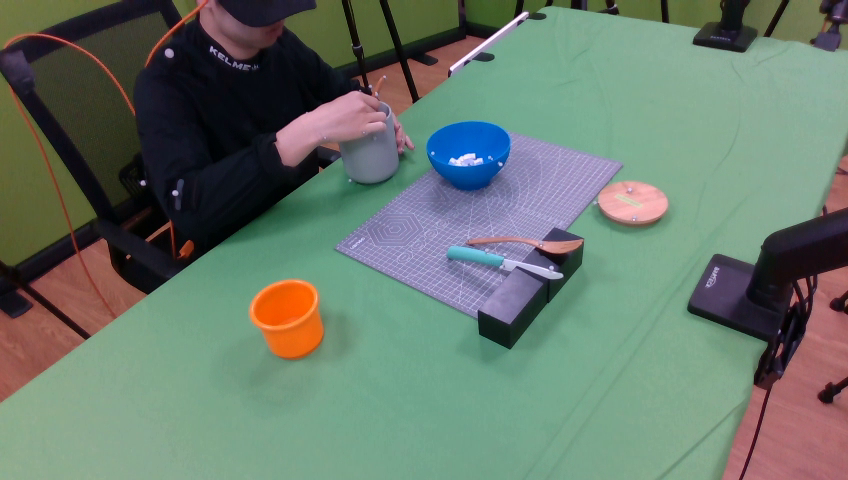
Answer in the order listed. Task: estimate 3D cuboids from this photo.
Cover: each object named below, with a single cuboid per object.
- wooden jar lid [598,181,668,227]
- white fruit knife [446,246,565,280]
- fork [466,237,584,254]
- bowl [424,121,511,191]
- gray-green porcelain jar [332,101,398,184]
[{"bbox_3d":[0.340,-0.058,0.988,0.108,0.021,0.108,-5,41,5],"label":"wooden jar lid"},{"bbox_3d":[0.111,0.033,0.868,0.205,0.027,0.016,11,44,40],"label":"white fruit knife"},{"bbox_3d":[0.142,0.005,0.894,0.205,0.019,0.028,4,43,41],"label":"fork"},{"bbox_3d":[0.080,-0.141,1.074,0.151,0.077,0.150,-4,41,4],"label":"bowl"},{"bbox_3d":[-0.105,-0.175,1.109,0.106,0.127,0.105,-4,40,4],"label":"gray-green porcelain jar"}]
